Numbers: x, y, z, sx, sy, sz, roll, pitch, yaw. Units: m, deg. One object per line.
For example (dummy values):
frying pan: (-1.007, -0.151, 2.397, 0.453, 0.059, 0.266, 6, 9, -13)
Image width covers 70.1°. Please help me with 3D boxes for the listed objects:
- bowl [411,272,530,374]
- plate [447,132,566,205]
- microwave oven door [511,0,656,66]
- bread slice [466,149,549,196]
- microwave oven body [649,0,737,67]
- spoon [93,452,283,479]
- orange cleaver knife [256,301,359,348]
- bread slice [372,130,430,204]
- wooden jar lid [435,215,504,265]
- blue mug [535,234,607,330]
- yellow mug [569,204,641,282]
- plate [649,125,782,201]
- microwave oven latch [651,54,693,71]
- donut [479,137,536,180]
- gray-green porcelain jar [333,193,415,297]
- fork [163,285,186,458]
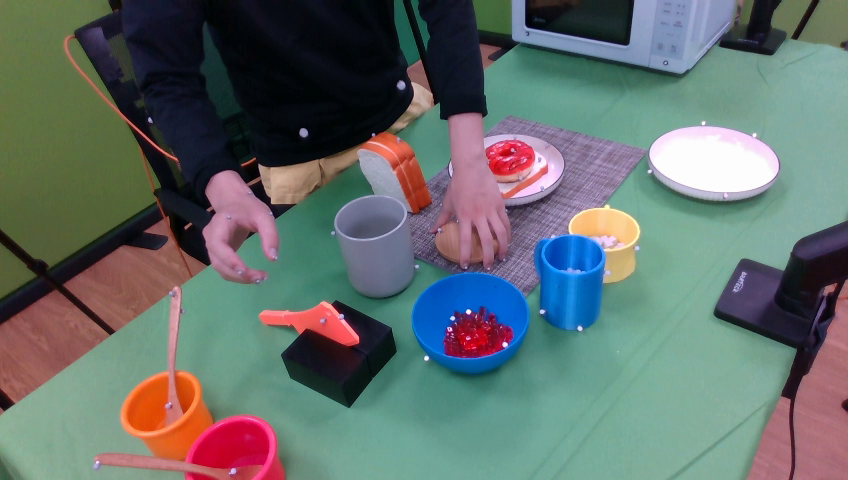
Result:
bowl: (0.062, 0.120, 0.780, 0.151, 0.077, 0.150, -4, 40, 4)
plate: (0.146, -0.124, 1.076, 0.209, 0.038, 0.208, -4, 41, 4)
microwave oven door: (0.351, -0.539, 1.348, 0.353, 0.245, 0.039, 24, 50, 31)
bread slice: (0.156, -0.128, 1.085, 0.132, 0.019, 0.104, -34, 48, -23)
microwave oven body: (0.475, -0.602, 1.411, 0.438, 0.261, 0.327, 23, 50, 32)
spoon: (-0.240, 0.239, 0.632, 0.195, 0.021, 0.041, 26, 34, -32)
orange cleaver knife: (-0.160, 0.116, 0.813, 0.210, 0.077, 0.012, -9, 29, 48)
bread slice: (-0.042, -0.127, 1.039, 0.106, 0.135, 0.018, 30, 61, 33)
wooden jar lid: (0.071, 0.001, 0.956, 0.108, 0.021, 0.108, -4, 41, 4)
blue mug: (0.191, 0.048, 0.824, 0.082, 0.106, 0.115, -26, 44, -20)
yellow mug: (0.268, -0.005, 0.904, 0.099, 0.064, 0.130, 7, 41, 15)
plate: (0.493, -0.127, 1.036, 0.207, 0.039, 0.206, -4, 41, 4)
microwave oven latch: (0.531, -0.386, 1.301, 0.078, 0.029, 0.030, 26, 51, 33)
donut: (0.145, -0.144, 1.056, 0.099, 0.048, 0.098, -5, 42, 5)
gray-green porcelain jar: (-0.070, 0.012, 0.887, 0.106, 0.127, 0.105, -4, 41, 4)
fork: (-0.302, 0.157, 0.733, 0.028, 0.019, 0.207, -4, 84, 17)
